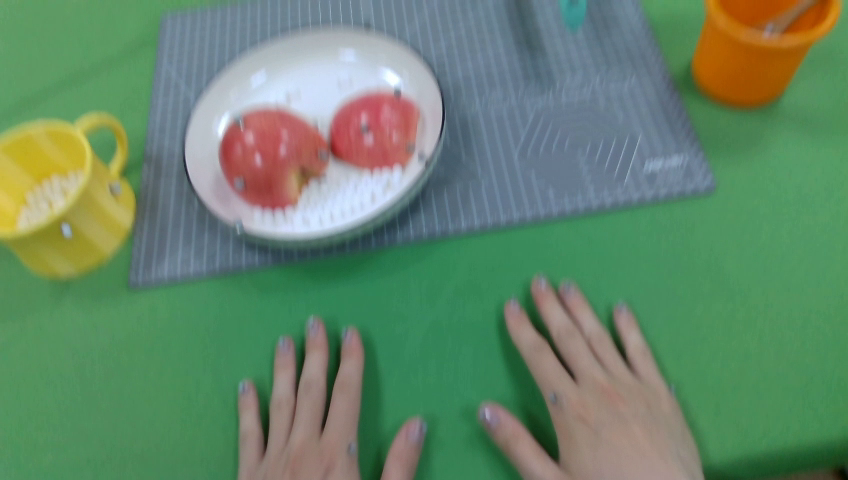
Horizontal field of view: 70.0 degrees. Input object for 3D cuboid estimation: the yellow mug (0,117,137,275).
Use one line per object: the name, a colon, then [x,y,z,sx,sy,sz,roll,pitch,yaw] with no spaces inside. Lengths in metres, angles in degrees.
yellow mug: [-0.282,-0.044,0.477,0.099,0.064,0.130,22,65,17]

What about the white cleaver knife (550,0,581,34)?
white cleaver knife: [0.103,-0.285,0.565,0.021,0.066,0.283,-11,56,6]

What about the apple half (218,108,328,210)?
apple half: [-0.121,-0.071,0.469,0.074,0.054,0.080,33,70,25]

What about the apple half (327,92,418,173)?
apple half: [-0.044,-0.093,0.483,0.081,0.033,0.080,-2,63,5]

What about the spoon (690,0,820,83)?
spoon: [0.287,-0.176,0.440,0.022,0.193,0.041,17,55,-36]

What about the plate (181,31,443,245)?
plate: [-0.087,-0.083,0.490,0.209,0.038,0.207,-2,61,5]
